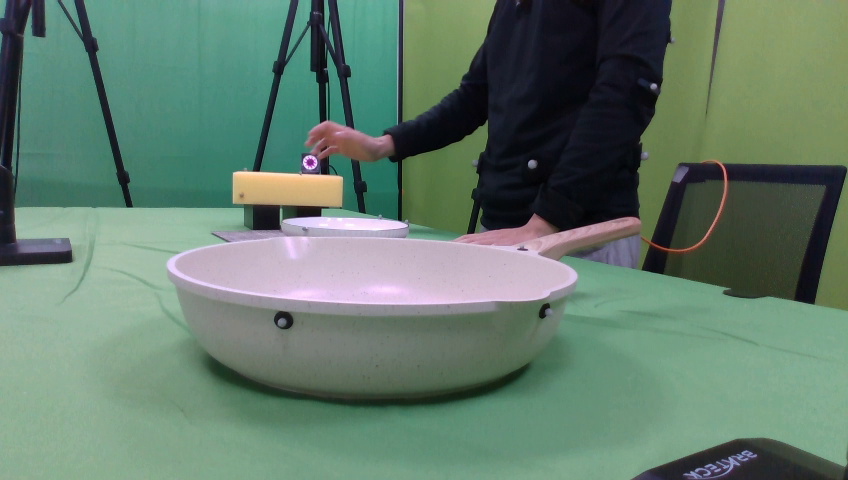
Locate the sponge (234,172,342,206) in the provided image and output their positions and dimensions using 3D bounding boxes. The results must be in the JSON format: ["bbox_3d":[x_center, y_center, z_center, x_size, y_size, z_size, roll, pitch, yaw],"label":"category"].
[{"bbox_3d":[-0.273,-0.105,1.223,0.207,0.061,0.118,0,7,-14],"label":"sponge"}]

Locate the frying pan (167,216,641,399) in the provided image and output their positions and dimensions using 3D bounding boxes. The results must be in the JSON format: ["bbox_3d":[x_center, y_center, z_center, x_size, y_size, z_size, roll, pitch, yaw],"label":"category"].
[{"bbox_3d":[0.046,0.024,0.519,0.490,0.102,0.305,-14,16,-37],"label":"frying pan"}]

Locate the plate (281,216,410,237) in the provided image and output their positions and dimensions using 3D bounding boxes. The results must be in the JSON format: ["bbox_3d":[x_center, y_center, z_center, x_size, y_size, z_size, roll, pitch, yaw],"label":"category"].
[{"bbox_3d":[-0.126,-0.012,0.986,0.208,0.039,0.207,2,7,0],"label":"plate"}]
